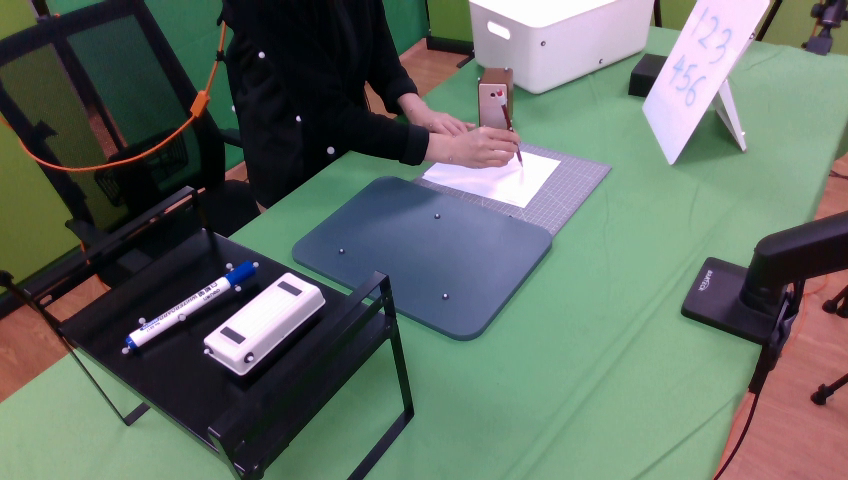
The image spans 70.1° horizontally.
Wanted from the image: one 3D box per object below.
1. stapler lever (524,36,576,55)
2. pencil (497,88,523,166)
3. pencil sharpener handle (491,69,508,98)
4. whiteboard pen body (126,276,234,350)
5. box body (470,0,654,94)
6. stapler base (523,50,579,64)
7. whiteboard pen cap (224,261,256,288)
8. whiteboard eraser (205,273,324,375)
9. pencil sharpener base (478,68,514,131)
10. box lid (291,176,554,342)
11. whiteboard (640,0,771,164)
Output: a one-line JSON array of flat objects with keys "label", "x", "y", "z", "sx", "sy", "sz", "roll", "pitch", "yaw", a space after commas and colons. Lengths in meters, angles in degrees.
[{"label": "stapler lever", "x": 0.296, "y": -0.456, "z": 1.418, "sx": 0.117, "sy": 0.040, "sz": 0.027, "roll": 4, "pitch": 40, "yaw": 17}, {"label": "pencil", "x": 0.151, "y": -0.189, "z": 1.041, "sx": 0.012, "sy": 0.195, "sz": 0.012, "roll": -11, "pitch": 54, "yaw": 16}, {"label": "pencil sharpener handle", "x": 0.155, "y": -0.329, "z": 1.254, "sx": 0.036, "sy": 0.068, "sz": 0.030, "roll": 17, "pitch": 43, "yaw": 3}, {"label": "whiteboard pen body", "x": -0.251, "y": 0.070, "z": 0.649, "sx": 0.141, "sy": 0.017, "sz": 0.017, "roll": -36, "pitch": 48, "yaw": -26}, {"label": "box body", "x": 0.319, "y": -0.498, "z": 1.405, "sx": 0.365, "sy": 0.161, "sz": 0.252, "roll": -26, "pitch": 43, "yaw": -21}, {"label": "stapler base", "x": 0.301, "y": -0.436, "z": 1.434, "sx": 0.130, "sy": 0.024, "sz": 0.041, "roll": 5, "pitch": 40, "yaw": 17}, {"label": "whiteboard pen cap", "x": -0.207, "y": 0.039, "z": 0.677, "sx": 0.033, "sy": 0.018, "sz": 0.018, "roll": -35, "pitch": 47, "yaw": -18}, {"label": "whiteboard eraser", "x": -0.157, "y": 0.084, "z": 0.605, "sx": 0.055, "sy": 0.042, "sz": 0.113, "roll": 24, "pitch": 49, "yaw": 30}, {"label": "pencil sharpener base", "x": 0.148, "y": -0.286, "z": 1.225, "sx": 0.061, "sy": 0.107, "sz": 0.076, "roll": 4, "pitch": 41, "yaw": 15}, {"label": "box lid", "x": -0.005, "y": 0.011, "z": 0.972, "sx": 0.368, "sy": 0.015, "sz": 0.264, "roll": 21, "pitch": 49, "yaw": 30}, {"label": "whiteboard", "x": 0.543, "y": -0.299, "z": 1.076, "sx": 0.144, "sy": 0.305, "sz": 0.216, "roll": 12, "pitch": 40, "yaw": -7}]
